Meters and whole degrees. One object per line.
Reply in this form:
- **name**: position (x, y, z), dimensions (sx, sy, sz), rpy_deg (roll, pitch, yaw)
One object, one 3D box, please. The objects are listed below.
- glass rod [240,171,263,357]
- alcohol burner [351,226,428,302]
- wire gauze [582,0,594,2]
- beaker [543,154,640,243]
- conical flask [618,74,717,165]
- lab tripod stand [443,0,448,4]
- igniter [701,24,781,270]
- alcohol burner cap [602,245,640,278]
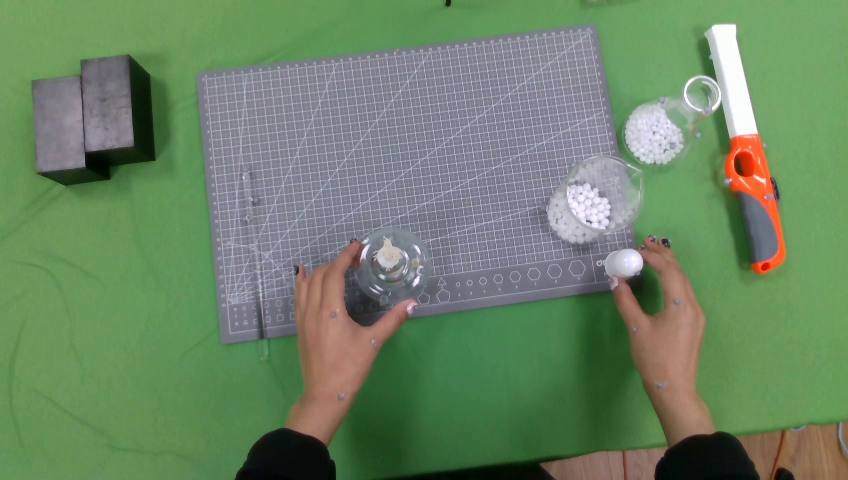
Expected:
- **glass rod**: position (-0.182, 0.024, 0.642), dimensions (0.008, 0.008, 0.199), rpy_deg (-7, 85, -2)
- **alcohol burner**: position (-0.035, 0.021, 0.592), dimensions (0.078, 0.119, 0.077), rpy_deg (0, 81, 2)
- **wire gauze**: position (0.228, -0.336, 0.702), dimensions (0.125, 0.011, 0.121), rpy_deg (-9, 83, -4)
- **beaker**: position (0.166, -0.039, 0.611), dimensions (0.084, 0.100, 0.074), rpy_deg (-31, 83, -5)
- **conical flask**: position (0.251, -0.126, 0.616), dimensions (0.075, 0.122, 0.075), rpy_deg (0, 81, 0)
- **lab tripod stand**: position (0.069, -0.333, 0.635), dimensions (0.148, 0.131, 0.148), rpy_deg (0, 84, -1)
- **igniter**: position (0.346, -0.104, 0.662), dimensions (0.057, 0.025, 0.275), rpy_deg (-6, 82, -13)
- **alcohol burner cap**: position (0.202, 0.020, 0.614), dimensions (0.034, 0.048, 0.034), rpy_deg (0, 82, 3)
